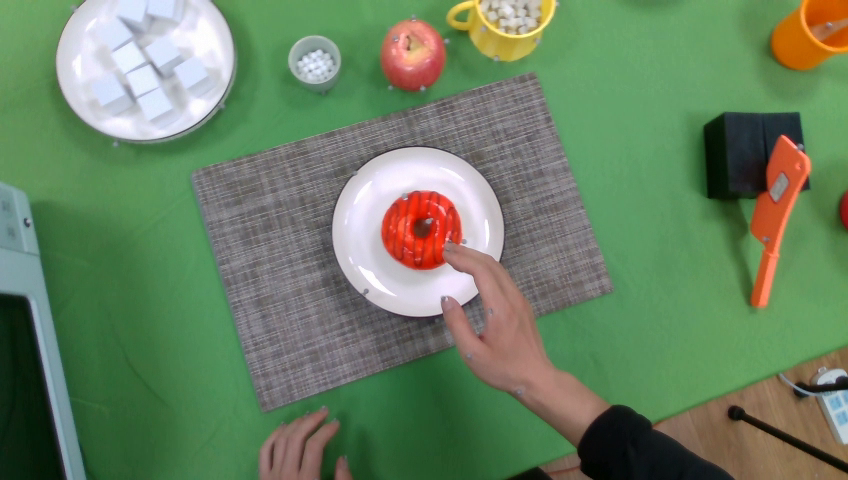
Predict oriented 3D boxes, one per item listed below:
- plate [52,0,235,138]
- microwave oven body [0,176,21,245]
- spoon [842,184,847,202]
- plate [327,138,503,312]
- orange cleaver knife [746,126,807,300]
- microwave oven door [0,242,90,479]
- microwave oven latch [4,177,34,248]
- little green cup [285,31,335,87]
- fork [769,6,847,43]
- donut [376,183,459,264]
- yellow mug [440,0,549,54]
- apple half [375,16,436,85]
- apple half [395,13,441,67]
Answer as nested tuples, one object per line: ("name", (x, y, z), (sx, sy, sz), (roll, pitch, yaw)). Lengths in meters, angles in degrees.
("plate", (-0.333, -0.220, 0.733), (0.208, 0.039, 0.207), (1, 82, -4))
("microwave oven body", (-0.551, 0.166, 0.550), (0.326, 0.260, 0.440), (-15, 85, -7))
("spoon", (0.617, -0.039, 0.731), (0.192, 0.022, 0.041), (20, 73, 43))
("plate", (-0.011, -0.017, 0.729), (0.209, 0.038, 0.208), (1, 83, -4))
("orange cleaver knife", (0.419, -0.030, 0.742), (0.012, 0.076, 0.212), (1, 114, -2))
("microwave oven door", (-0.399, 0.168, 0.557), (0.039, 0.244, 0.354), (-16, 84, -6))
("microwave oven latch", (-0.464, -0.028, 0.679), (0.030, 0.029, 0.079), (-14, 85, -7))
("little green cup", (-0.139, -0.221, 0.749), (0.061, 0.038, 0.061), (1, 82, -4))
("fork", (0.547, -0.294, 0.755), (0.206, 0.019, 0.028), (-15, 79, 38))
("donut", (-0.008, -0.020, 0.718), (0.099, 0.048, 0.099), (0, 85, -3))
("yellow mug", (0.085, -0.292, 0.761), (0.131, 0.064, 0.099), (-7, 82, -5))
("apple half", (-0.030, -0.222, 0.740), (0.053, 0.074, 0.081), (-45, 91, -4))
("apple half", (-0.003, -0.249, 0.745), (0.081, 0.081, 0.033), (44, 86, 3))
